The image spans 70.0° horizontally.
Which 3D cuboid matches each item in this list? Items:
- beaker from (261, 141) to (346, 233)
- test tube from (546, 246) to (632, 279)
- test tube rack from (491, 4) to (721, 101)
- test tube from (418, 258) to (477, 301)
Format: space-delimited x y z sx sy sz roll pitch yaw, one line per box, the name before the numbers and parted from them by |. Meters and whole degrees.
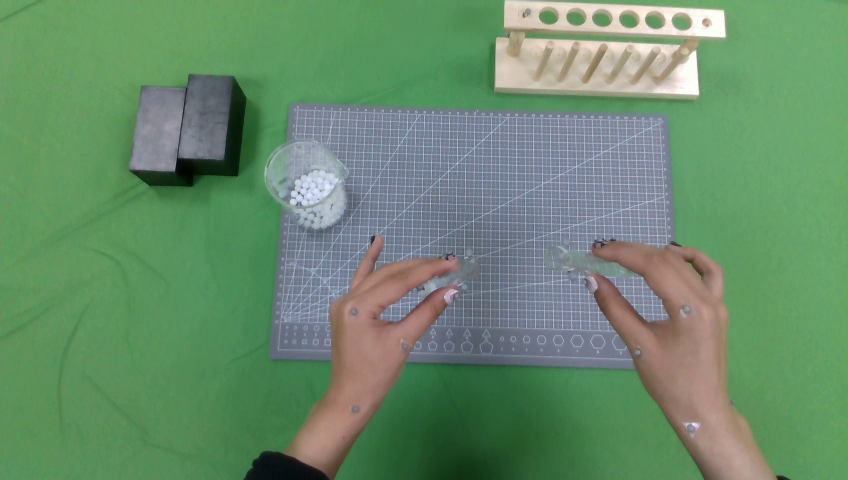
beaker | -0.121 -0.052 0.648 0.084 0.100 0.073 -6 77 -3
test tube | 0.128 0.019 0.453 0.017 0.151 0.017 -4 82 35
test tube rack | 0.204 -0.214 0.701 0.242 0.085 0.066 2 77 0
test tube | 0.016 0.036 0.510 0.017 0.150 0.017 3 77 -12
